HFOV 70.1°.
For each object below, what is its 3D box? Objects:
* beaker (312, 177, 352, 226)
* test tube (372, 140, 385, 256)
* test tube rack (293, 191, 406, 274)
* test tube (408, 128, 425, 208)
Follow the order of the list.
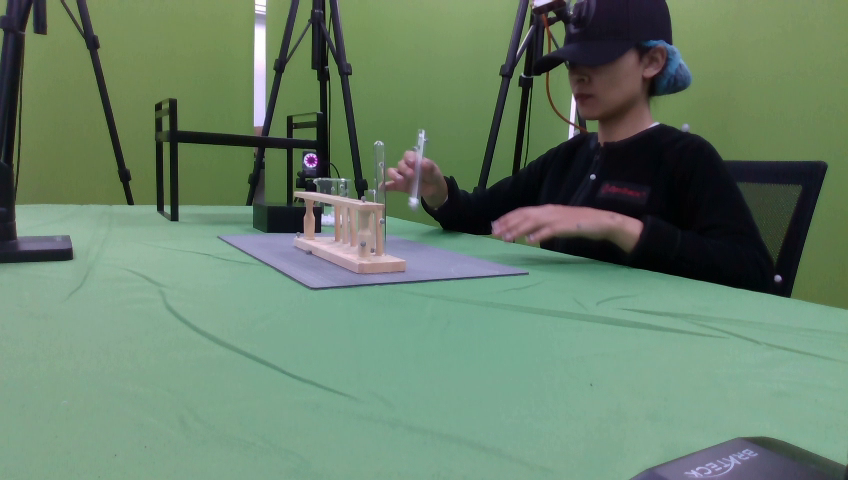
[{"bbox_3d":[-0.194,-0.081,1.266,0.084,0.100,0.073,-3,9,-29],"label":"beaker"},{"bbox_3d":[-0.058,-0.053,0.781,0.017,0.150,0.017,0,5,0],"label":"test tube"},{"bbox_3d":[-0.110,-0.017,0.836,0.067,0.085,0.241,-2,9,-30],"label":"test tube rack"},{"bbox_3d":[-0.013,-0.123,1.022,0.017,0.150,0.017,5,-22,2],"label":"test tube"}]
